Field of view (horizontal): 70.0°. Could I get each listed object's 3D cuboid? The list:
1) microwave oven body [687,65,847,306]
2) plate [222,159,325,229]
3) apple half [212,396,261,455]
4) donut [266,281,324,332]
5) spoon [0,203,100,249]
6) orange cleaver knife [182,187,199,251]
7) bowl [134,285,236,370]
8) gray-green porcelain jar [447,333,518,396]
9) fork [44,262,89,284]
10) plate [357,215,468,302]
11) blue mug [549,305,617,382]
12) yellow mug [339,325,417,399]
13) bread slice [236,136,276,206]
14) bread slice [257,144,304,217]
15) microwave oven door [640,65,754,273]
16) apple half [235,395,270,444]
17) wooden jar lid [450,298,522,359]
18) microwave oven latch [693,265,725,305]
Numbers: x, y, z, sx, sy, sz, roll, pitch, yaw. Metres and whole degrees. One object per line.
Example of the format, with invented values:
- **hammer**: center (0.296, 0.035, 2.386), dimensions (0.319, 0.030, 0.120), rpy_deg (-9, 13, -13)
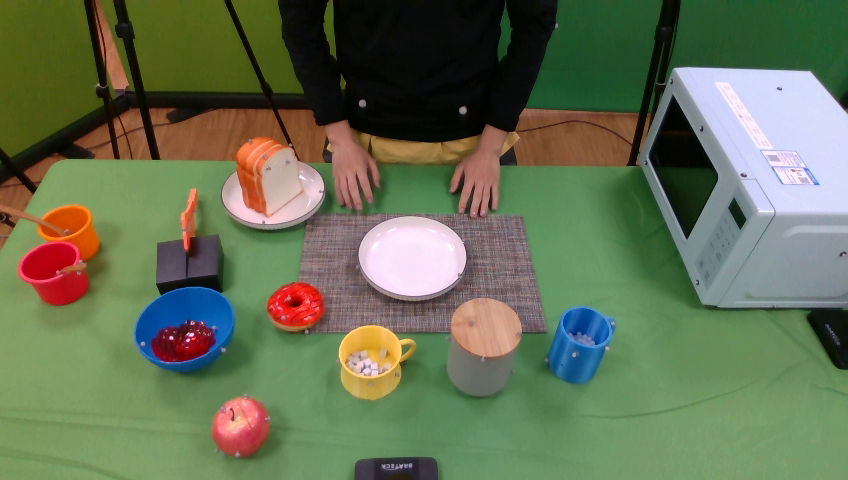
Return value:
- **microwave oven body**: center (0.669, -0.111, 1.176), dimensions (0.326, 0.261, 0.439), rpy_deg (0, 46, -3)
- **plate**: center (-0.308, -0.095, 1.251), dimensions (0.209, 0.038, 0.208), rpy_deg (2, 46, -2)
- **apple half**: center (-0.276, 0.276, 0.877), dimensions (0.053, 0.075, 0.080), rpy_deg (-29, 58, -21)
- **donut**: center (-0.222, 0.114, 1.049), dimensions (0.099, 0.048, 0.098), rpy_deg (2, 45, -2)
- **spoon**: center (-0.683, -0.031, 1.088), dimensions (0.195, 0.021, 0.041), rpy_deg (33, 33, -38)
- **orange cleaver knife**: center (-0.445, -0.045, 1.163), dimensions (0.012, 0.077, 0.210), rpy_deg (-5, 24, -13)
- **bowl**: center (-0.377, 0.155, 0.981), dimensions (0.151, 0.077, 0.150), rpy_deg (2, 46, -2)
- **gray-green porcelain jar**: center (0.091, 0.178, 0.960), dimensions (0.106, 0.127, 0.105), rpy_deg (2, 46, -2)
- **fork**: center (-0.598, 0.054, 1.014), dimensions (0.207, 0.019, 0.028), rpy_deg (-15, 28, 45)
- **plate**: center (-0.022, 0.037, 1.141), dimensions (0.208, 0.039, 0.206), rpy_deg (2, 46, -2)
- **blue mug**: center (0.269, 0.165, 0.998), dimensions (0.116, 0.106, 0.082), rpy_deg (-19, 51, -21)
- **yellow mug**: center (-0.072, 0.191, 0.978), dimensions (0.131, 0.064, 0.099), rpy_deg (-17, 49, -20)
- **bread slice**: center (-0.331, -0.147, 1.225), dimensions (0.019, 0.132, 0.105), rpy_deg (24, 47, 26)
- **bread slice**: center (-0.290, -0.124, 1.205), dimensions (0.018, 0.135, 0.107), rpy_deg (25, 53, 23)
- **microwave oven door**: center (0.523, -0.147, 1.193), dimensions (0.039, 0.245, 0.353), rpy_deg (0, 47, -3)
- **apple half**: center (-0.245, 0.259, 0.893), dimensions (0.033, 0.082, 0.081), rpy_deg (-29, 55, -22)
- **wooden jar lid**: center (0.093, 0.135, 0.914), dimensions (0.108, 0.021, 0.107), rpy_deg (2, 48, -3)
- **microwave oven latch**: center (0.523, 0.082, 1.116), dimensions (0.030, 0.029, 0.078), rpy_deg (2, 46, -1)
